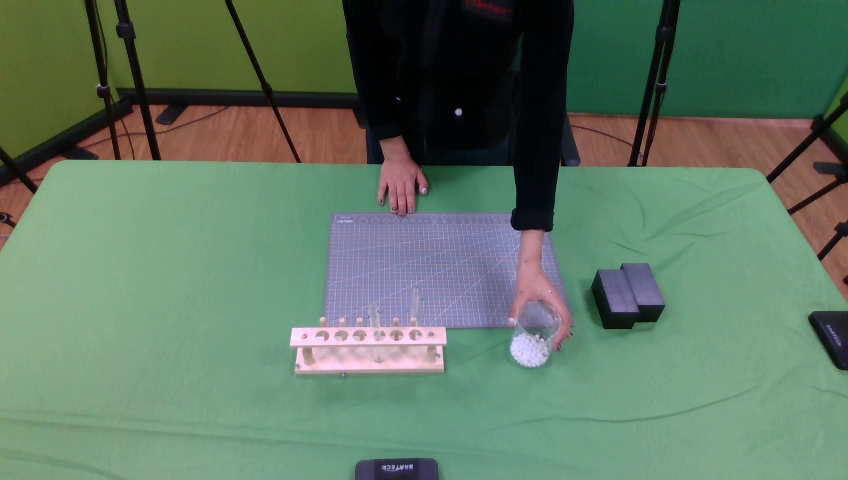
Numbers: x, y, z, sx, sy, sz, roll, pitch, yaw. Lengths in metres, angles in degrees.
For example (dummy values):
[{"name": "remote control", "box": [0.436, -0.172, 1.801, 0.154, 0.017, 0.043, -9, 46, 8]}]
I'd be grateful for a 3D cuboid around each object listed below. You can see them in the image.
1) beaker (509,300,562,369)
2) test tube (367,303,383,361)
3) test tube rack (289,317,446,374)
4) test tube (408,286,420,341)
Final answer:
[{"name": "beaker", "box": [0.182, 0.162, 1.005, 0.074, 0.101, 0.083, -4, 47, -6]}, {"name": "test tube", "box": [-0.075, 0.146, 0.941, 0.017, 0.151, 0.017, 0, 49, 0]}, {"name": "test tube rack", "box": [-0.089, 0.167, 0.988, 0.242, 0.085, 0.066, 0, 46, -4]}, {"name": "test tube", "box": [-0.017, 0.123, 0.974, 0.017, 0.151, 0.017, 2, 48, -2]}]
